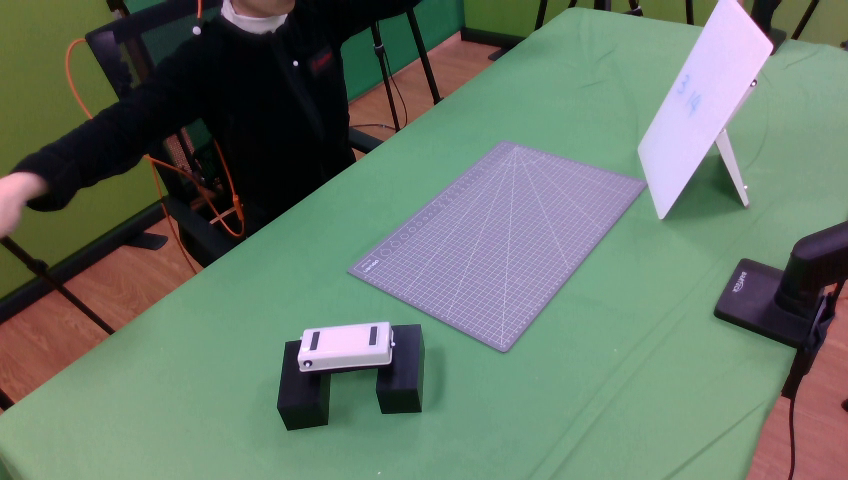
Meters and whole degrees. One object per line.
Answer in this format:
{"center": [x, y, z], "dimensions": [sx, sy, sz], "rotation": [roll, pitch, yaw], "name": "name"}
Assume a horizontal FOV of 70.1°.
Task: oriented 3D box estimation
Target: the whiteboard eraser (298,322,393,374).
{"center": [-0.094, 0.134, 0.740], "dimensions": [0.113, 0.042, 0.055], "rotation": [-5, 41, 3], "name": "whiteboard eraser"}

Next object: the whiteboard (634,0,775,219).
{"center": [0.485, -0.193, 0.957], "dimensions": [0.144, 0.305, 0.216], "rotation": [14, 41, -4], "name": "whiteboard"}
